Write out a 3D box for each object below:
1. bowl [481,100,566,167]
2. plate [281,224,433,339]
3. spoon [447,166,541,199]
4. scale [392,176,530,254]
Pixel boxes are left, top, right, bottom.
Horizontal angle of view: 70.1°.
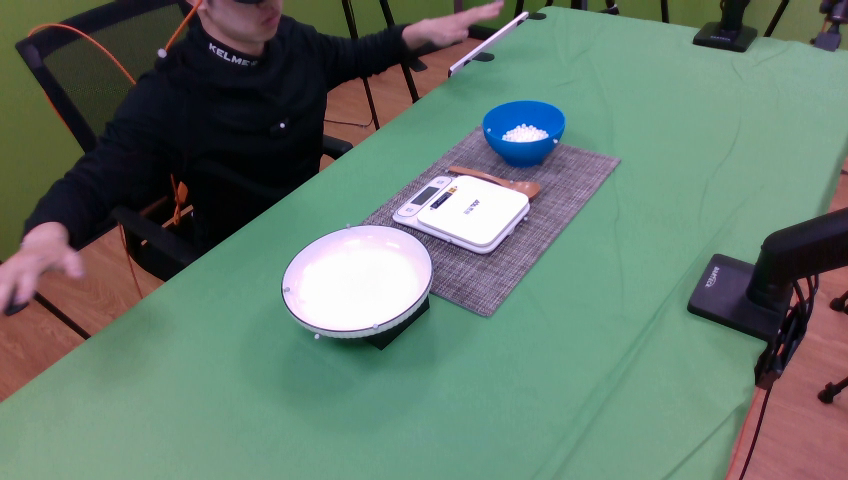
[{"bbox_3d":[0.183,-0.187,1.111,0.151,0.077,0.150,-4,41,4],"label":"bowl"},{"bbox_3d":[-0.089,0.057,0.825,0.209,0.038,0.208,-4,40,4],"label":"plate"},{"bbox_3d":[0.120,-0.107,1.071,0.192,0.022,0.041,23,64,31],"label":"spoon"},{"bbox_3d":[0.060,-0.050,1.006,0.199,0.032,0.149,22,48,30],"label":"scale"}]
